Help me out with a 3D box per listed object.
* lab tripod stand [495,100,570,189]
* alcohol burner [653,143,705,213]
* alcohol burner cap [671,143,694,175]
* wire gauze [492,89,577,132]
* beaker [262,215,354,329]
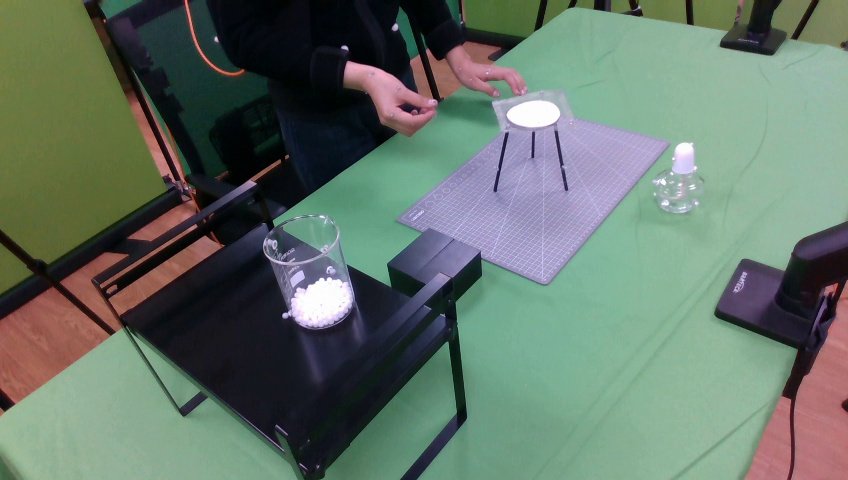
[{"bbox_3d":[0.186,-0.161,1.043,0.148,0.132,0.147,-4,43,5],"label":"lab tripod stand"},{"bbox_3d":[0.408,-0.102,0.963,0.078,0.119,0.077,-6,42,5],"label":"alcohol burner"},{"bbox_3d":[0.403,-0.129,0.941,0.034,0.048,0.033,-9,40,8],"label":"alcohol burner cap"},{"bbox_3d":[0.181,-0.213,1.002,0.125,0.011,0.121,-5,41,3],"label":"wire gauze"},{"bbox_3d":[-0.112,0.034,0.616,0.073,0.101,0.084,13,44,23],"label":"beaker"}]
